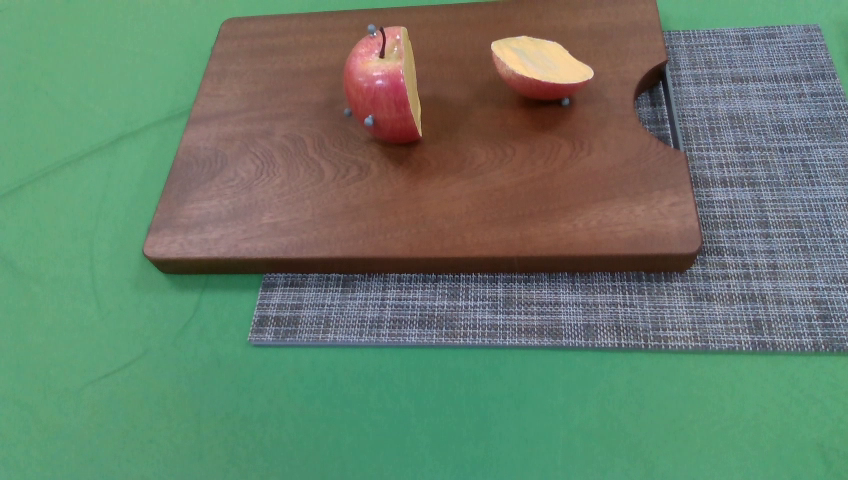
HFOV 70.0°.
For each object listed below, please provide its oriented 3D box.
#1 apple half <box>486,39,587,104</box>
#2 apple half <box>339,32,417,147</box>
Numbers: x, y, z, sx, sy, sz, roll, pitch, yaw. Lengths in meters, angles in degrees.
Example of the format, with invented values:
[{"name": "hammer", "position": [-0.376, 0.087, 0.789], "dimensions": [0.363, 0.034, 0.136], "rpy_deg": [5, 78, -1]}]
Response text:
[{"name": "apple half", "position": [0.081, -0.125, 0.472], "dimensions": [0.081, 0.033, 0.080], "rpy_deg": [9, 42, -7]}, {"name": "apple half", "position": [-0.036, -0.111, 0.461], "dimensions": [0.053, 0.075, 0.080], "rpy_deg": [-9, 61, 8]}]
